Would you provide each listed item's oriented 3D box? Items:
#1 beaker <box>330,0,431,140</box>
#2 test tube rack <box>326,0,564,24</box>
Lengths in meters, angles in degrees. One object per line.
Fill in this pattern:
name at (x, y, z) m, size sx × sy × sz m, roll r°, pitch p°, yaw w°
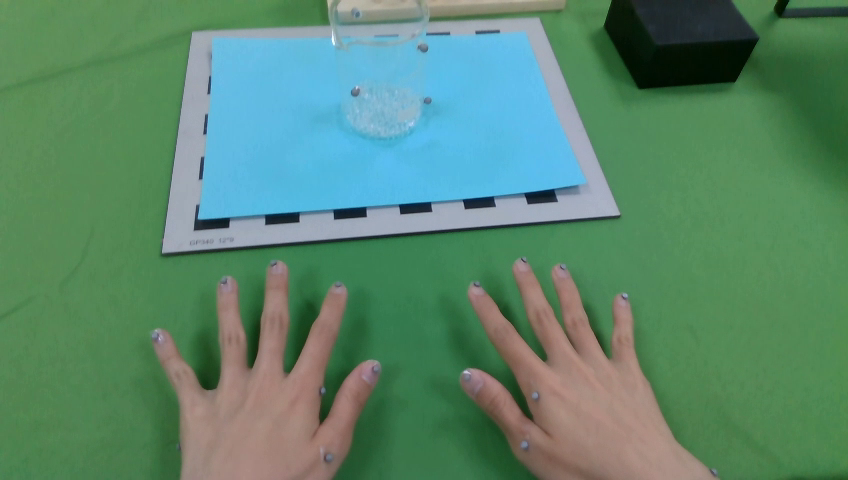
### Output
beaker at (-0.036, -0.136, 0.482) m, size 0.073 × 0.101 × 0.084 m, roll 34°, pitch 60°, yaw 20°
test tube rack at (0.022, -0.278, 0.602) m, size 0.243 × 0.086 × 0.066 m, roll -6°, pitch 54°, yaw -8°
